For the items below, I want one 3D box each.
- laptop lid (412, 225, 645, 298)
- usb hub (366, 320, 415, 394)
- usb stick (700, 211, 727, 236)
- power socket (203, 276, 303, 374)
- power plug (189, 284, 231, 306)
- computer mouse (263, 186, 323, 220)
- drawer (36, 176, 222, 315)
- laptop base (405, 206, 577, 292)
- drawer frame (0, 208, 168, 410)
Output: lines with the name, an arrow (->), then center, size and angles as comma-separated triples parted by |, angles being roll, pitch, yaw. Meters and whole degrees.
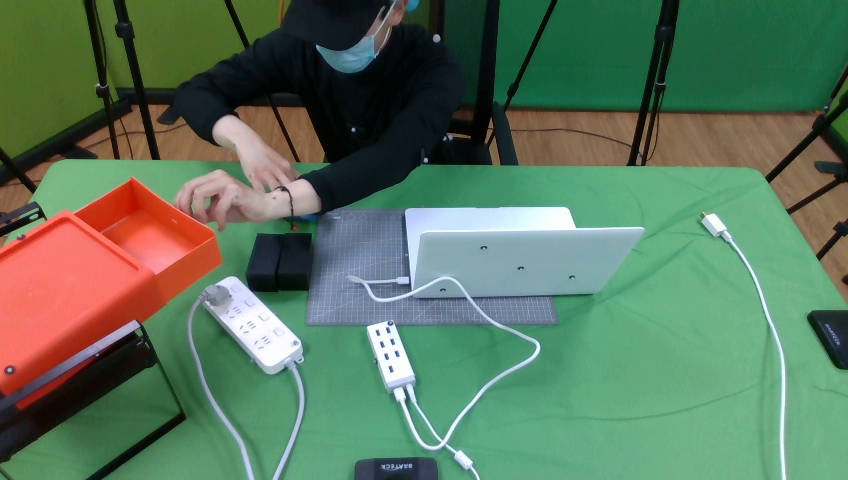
laptop lid -> 0.161, 0.042, 1.012 | 0.357, 0.242, 0.013 | 0, 59, -7
usb hub -> -0.056, 0.192, 1.009 | 0.049, 0.025, 0.124 | -12, 49, -16
usb stick -> 0.606, -0.038, 1.272 | 0.027, 0.021, 0.059 | -18, 56, -20
power socket -> -0.296, 0.141, 1.034 | 0.072, 0.033, 0.225 | -34, 58, -30
power plug -> -0.368, 0.100, 1.037 | 0.072, 0.053, 0.035 | -24, 53, -26
computer mouse -> -0.261, -0.076, 1.208 | 0.117, 0.041, 0.062 | 6, 50, 10
drawer -> -0.433, 0.023, 0.855 | 0.193, 0.073, 0.211 | 30, 52, 23
laptop base -> 0.143, 0.018, 1.196 | 0.355, 0.023, 0.234 | -1, 43, -6
drawer frame -> -0.492, 0.080, 0.795 | 0.201, 0.083, 0.213 | 28, 51, 21
